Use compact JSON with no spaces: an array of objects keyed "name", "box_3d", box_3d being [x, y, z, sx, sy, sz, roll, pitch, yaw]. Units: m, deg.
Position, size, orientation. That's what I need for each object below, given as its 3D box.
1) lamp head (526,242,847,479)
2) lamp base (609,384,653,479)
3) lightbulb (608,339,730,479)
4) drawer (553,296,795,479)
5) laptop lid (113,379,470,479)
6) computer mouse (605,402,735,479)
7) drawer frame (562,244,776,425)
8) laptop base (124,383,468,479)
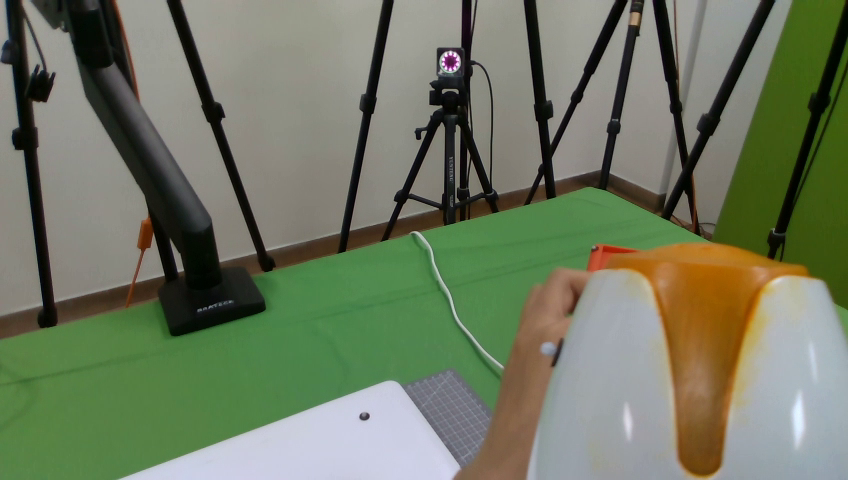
[{"name":"lamp head","box_3d":[0.088,0.062,0.198,0.112,0.122,0.112,4,-5,1]},{"name":"lamp base","box_3d":[0.143,0.202,0.411,0.161,0.181,0.177,-1,27,-3]},{"name":"lightbulb","box_3d":[0.081,0.086,0.200,0.059,0.107,0.059,4,-2,1]},{"name":"drawer","box_3d":[0.245,0.149,0.621,0.194,0.074,0.211,7,29,16]},{"name":"laptop lid","box_3d":[-0.129,0.240,0.489,0.358,0.013,0.239,-14,34,-24]},{"name":"computer mouse","box_3d":[0.232,0.189,0.573,0.117,0.041,0.062,9,26,7]},{"name":"drawer frame","box_3d":[0.279,0.097,0.713,0.201,0.083,0.212,8,29,16]},{"name":"laptop base","box_3d":[-0.130,0.249,0.497,0.355,0.023,0.233,-15,35,-26]}]
